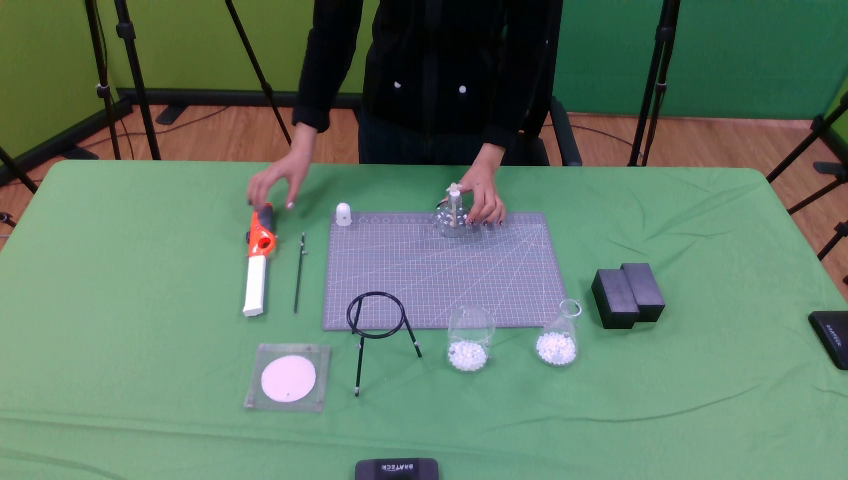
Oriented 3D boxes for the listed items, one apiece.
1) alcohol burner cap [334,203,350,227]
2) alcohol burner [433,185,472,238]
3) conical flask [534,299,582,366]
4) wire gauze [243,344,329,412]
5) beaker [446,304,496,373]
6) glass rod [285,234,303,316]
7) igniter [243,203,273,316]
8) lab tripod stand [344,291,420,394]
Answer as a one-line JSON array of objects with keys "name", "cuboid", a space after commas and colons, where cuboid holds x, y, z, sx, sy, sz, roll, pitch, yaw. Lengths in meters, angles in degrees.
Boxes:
[{"name": "alcohol burner cap", "cuboid": [-0.166, -0.053, 1.220, 0.034, 0.048, 0.033, 2, 46, -2]}, {"name": "alcohol burner", "cuboid": [0.057, -0.062, 1.197, 0.078, 0.120, 0.077, 1, 47, -1]}, {"name": "conical flask", "cuboid": [0.229, 0.149, 1.005, 0.075, 0.122, 0.075, 2, 46, -2]}, {"name": "wire gauze", "cuboid": [-0.221, 0.219, 0.981, 0.125, 0.011, 0.120, 2, 45, 0]}, {"name": "beaker", "cuboid": [0.072, 0.166, 0.992, 0.084, 0.101, 0.073, -21, 51, -22]}, {"name": "glass rod", "cuboid": [-0.242, 0.061, 1.134, 0.008, 0.008, 0.198, 2, 47, -2]}, {"name": "igniter", "cuboid": [-0.315, 0.027, 1.145, 0.057, 0.025, 0.274, -10, 47, 0]}, {"name": "lab tripod stand", "cuboid": [-0.075, 0.155, 0.967, 0.148, 0.132, 0.147, 3, 44, -3]}]
